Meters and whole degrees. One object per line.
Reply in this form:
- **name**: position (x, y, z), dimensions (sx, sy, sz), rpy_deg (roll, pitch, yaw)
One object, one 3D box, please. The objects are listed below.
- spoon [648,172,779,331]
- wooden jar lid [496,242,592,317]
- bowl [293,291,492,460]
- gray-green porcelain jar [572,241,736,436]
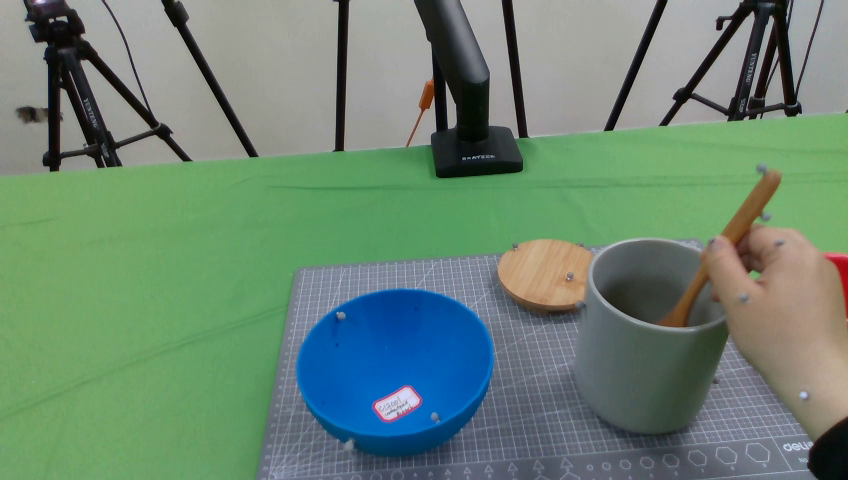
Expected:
- **spoon**: position (0.194, 0.036, 0.433), dimensions (0.022, 0.195, 0.041), rpy_deg (-3, 40, -24)
- **wooden jar lid**: position (0.128, 0.041, 0.623), dimensions (0.108, 0.021, 0.107), rpy_deg (-2, 35, 2)
- **bowl**: position (-0.022, 0.118, 0.480), dimensions (0.151, 0.077, 0.150), rpy_deg (-2, 37, 2)
- **gray-green porcelain jar**: position (0.173, 0.081, 0.475), dimensions (0.106, 0.127, 0.105), rpy_deg (-2, 37, 2)
